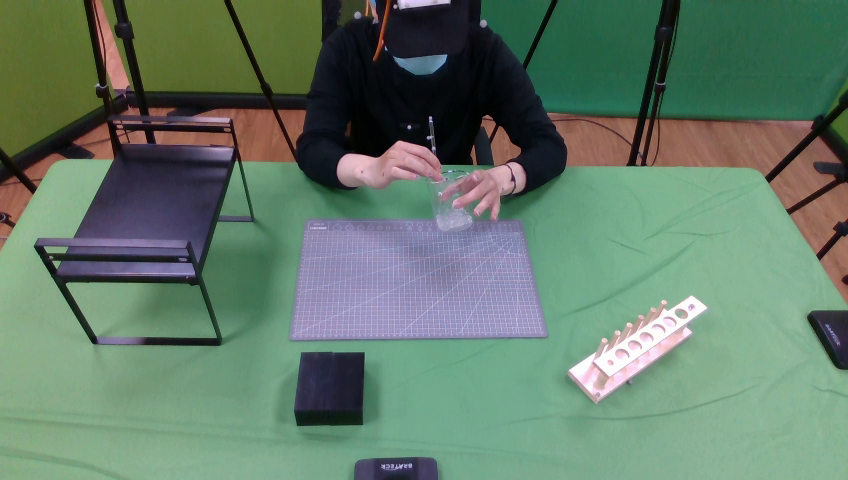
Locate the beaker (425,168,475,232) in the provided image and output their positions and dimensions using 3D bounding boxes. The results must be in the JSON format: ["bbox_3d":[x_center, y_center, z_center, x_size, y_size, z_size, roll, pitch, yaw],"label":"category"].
[{"bbox_3d":[0.052,-0.072,1.094,0.084,0.100,0.074,-8,21,11],"label":"beaker"}]

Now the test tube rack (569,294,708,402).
[{"bbox_3d":[0.360,0.167,1.015,0.242,0.085,0.066,-25,52,-25],"label":"test tube rack"}]

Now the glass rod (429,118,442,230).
[{"bbox_3d":[0.020,-0.115,1.072,0.008,0.200,0.008,-5,16,2],"label":"glass rod"}]
